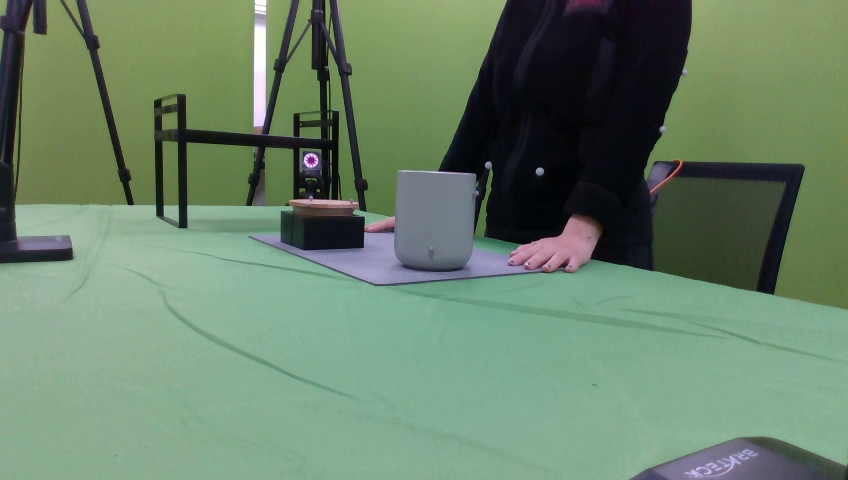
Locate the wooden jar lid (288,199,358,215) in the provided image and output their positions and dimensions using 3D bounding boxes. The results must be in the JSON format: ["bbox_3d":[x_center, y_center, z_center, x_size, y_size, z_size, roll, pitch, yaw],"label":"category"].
[{"bbox_3d":[-0.158,-0.052,0.950,0.108,0.020,0.108,3,8,0],"label":"wooden jar lid"}]

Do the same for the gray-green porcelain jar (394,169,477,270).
[{"bbox_3d":[0.014,-0.029,0.793,0.106,0.126,0.106,2,7,0],"label":"gray-green porcelain jar"}]
